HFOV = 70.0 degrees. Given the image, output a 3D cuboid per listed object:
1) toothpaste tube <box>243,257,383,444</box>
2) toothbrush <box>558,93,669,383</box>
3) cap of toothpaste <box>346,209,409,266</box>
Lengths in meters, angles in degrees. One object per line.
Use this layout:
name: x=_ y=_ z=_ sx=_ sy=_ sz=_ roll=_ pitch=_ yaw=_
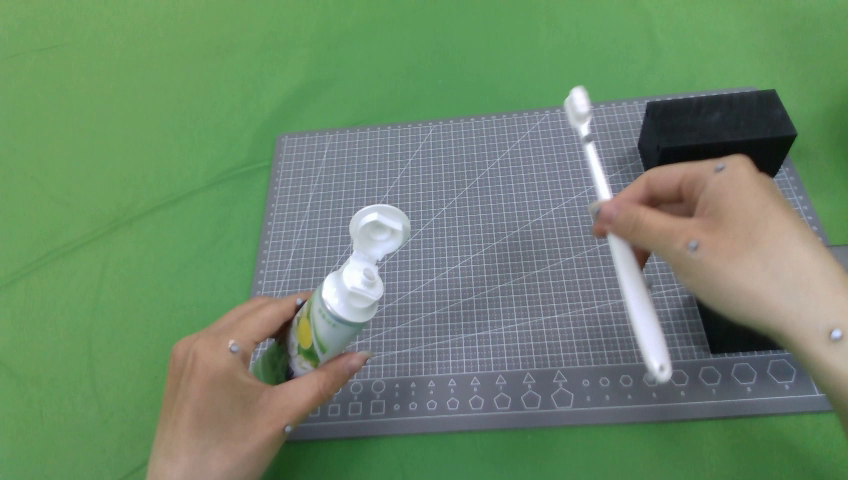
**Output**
toothpaste tube: x=-0.075 y=0.067 z=0.376 sx=0.035 sy=0.165 sz=0.054 roll=7 pitch=47 yaw=-40
toothbrush: x=0.109 y=-0.007 z=0.353 sx=0.014 sy=0.017 sz=0.180 roll=-9 pitch=71 yaw=-9
cap of toothpaste: x=-0.026 y=-0.001 z=0.338 sx=0.037 sy=0.038 sz=0.011 roll=-10 pitch=39 yaw=2
